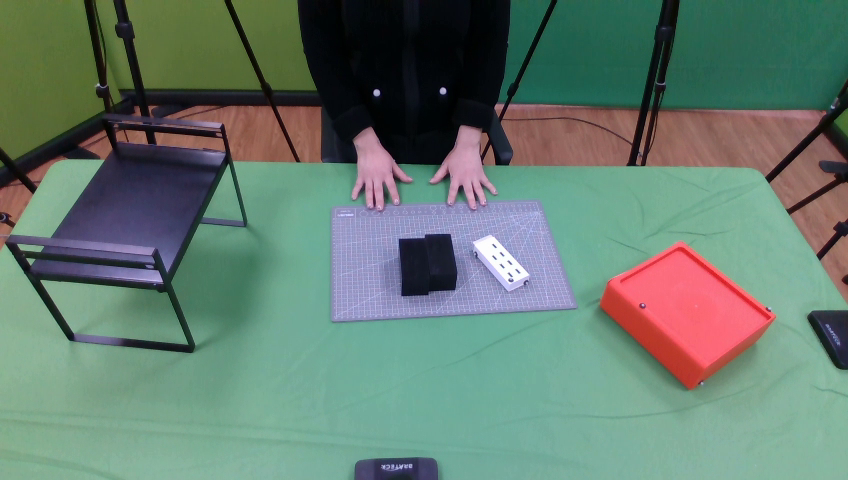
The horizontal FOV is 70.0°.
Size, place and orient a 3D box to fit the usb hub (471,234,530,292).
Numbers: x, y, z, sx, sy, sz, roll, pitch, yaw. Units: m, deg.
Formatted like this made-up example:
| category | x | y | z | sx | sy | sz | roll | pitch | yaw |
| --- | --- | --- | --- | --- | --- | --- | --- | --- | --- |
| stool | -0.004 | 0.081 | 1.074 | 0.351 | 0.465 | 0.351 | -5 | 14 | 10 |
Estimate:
| category | x | y | z | sx | sy | sz | roll | pitch | yaw |
| --- | --- | --- | --- | --- | --- | --- | --- | --- | --- |
| usb hub | 0.145 | 0.043 | 1.160 | 0.049 | 0.025 | 0.124 | -23 | 51 | -23 |

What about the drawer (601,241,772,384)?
| category | x | y | z | sx | sy | sz | roll | pitch | yaw |
| --- | --- | --- | --- | --- | --- | --- | --- | --- | --- |
| drawer | 0.459 | 0.121 | 1.072 | 0.194 | 0.073 | 0.210 | -23 | 52 | -25 |

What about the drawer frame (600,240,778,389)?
| category | x | y | z | sx | sy | sz | roll | pitch | yaw |
| --- | --- | --- | --- | --- | --- | --- | --- | --- | --- |
| drawer frame | 0.460 | 0.122 | 1.068 | 0.202 | 0.083 | 0.212 | -25 | 53 | -25 |
